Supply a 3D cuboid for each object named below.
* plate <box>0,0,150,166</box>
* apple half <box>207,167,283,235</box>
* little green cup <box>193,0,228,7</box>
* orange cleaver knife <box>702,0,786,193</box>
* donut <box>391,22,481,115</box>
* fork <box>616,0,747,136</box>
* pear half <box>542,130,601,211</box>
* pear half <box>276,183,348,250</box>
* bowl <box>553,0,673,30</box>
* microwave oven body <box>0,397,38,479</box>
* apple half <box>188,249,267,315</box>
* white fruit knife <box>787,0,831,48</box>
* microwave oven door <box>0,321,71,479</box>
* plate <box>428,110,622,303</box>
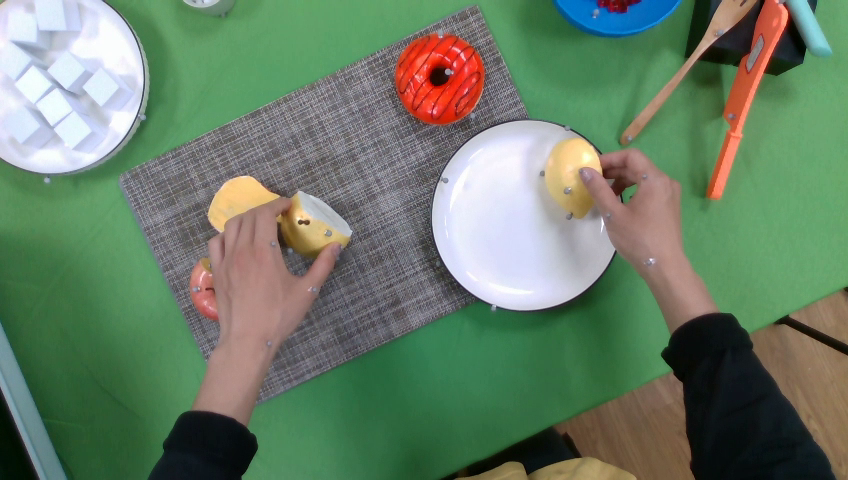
[{"bbox_3d":[-0.404,-0.185,0.672,0.208,0.039,0.207,0,92,1],"label":"plate"},{"bbox_3d":[-0.197,-0.037,0.668,0.081,0.033,0.080,3,69,-8],"label":"apple half"},{"bbox_3d":[-0.240,-0.288,0.665,0.061,0.038,0.061,0,92,2],"label":"little green cup"},{"bbox_3d":[0.330,-0.155,0.637,0.012,0.077,0.212,12,118,6],"label":"orange cleaver knife"},{"bbox_3d":[0.013,-0.185,0.657,0.099,0.048,0.099,0,93,4],"label":"donut"},{"bbox_3d":[0.273,-0.193,0.634,0.028,0.018,0.208,33,112,-7],"label":"fork"},{"bbox_3d":[0.149,-0.071,0.638,0.031,0.070,0.088,-15,107,-32],"label":"pear half"},{"bbox_3d":[-0.123,-0.018,0.624,0.076,0.110,0.056,36,94,4],"label":"pear half"},{"bbox_3d":[0.192,-0.288,0.637,0.151,0.077,0.151,0,92,1],"label":"bowl"},{"bbox_3d":[-0.595,0.231,0.575,0.326,0.260,0.441,-23,92,1],"label":"microwave oven body"},{"bbox_3d":[-0.217,0.051,0.655,0.081,0.074,0.053,30,96,-3],"label":"apple half"},{"bbox_3d":[0.362,-0.289,0.616,0.027,0.016,0.207,-24,89,-27],"label":"white fruit knife"},{"bbox_3d":[-0.444,0.215,0.566,0.039,0.244,0.355,-23,91,2],"label":"microwave oven door"},{"bbox_3d":[0.108,-0.036,0.663,0.209,0.038,0.209,0,92,1],"label":"plate"}]
